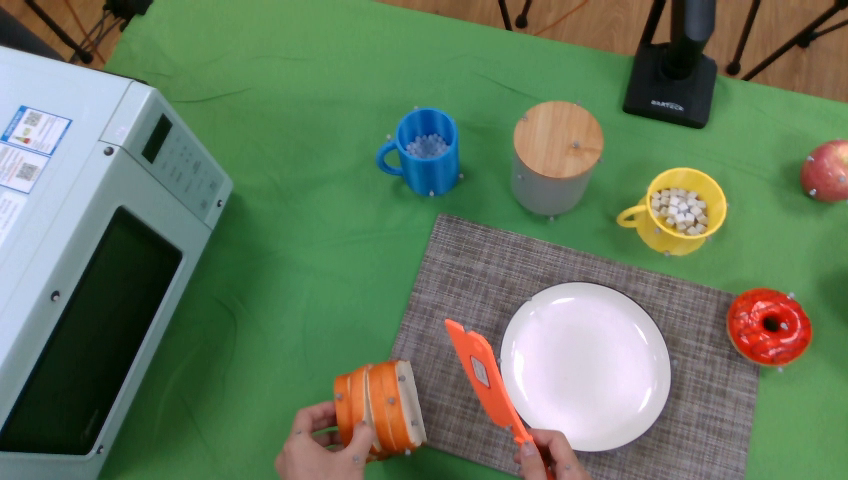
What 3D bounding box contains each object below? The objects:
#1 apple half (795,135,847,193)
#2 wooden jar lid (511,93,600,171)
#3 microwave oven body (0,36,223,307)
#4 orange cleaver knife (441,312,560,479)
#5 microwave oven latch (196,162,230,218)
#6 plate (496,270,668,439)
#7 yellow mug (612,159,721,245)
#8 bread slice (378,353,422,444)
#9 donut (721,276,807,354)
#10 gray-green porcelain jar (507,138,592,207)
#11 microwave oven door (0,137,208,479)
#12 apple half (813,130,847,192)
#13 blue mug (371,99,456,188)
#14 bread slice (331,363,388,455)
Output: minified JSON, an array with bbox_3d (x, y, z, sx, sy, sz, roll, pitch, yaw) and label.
[{"bbox_3d":[0.516,-0.094,0.802,0.033,0.082,0.080,-15,70,-6],"label":"apple half"},{"bbox_3d":[0.160,-0.130,0.745,0.108,0.021,0.107,-1,69,3],"label":"wooden jar lid"},{"bbox_3d":[-0.502,0.015,0.728,0.325,0.262,0.439,16,73,9],"label":"microwave oven body"},{"bbox_3d":[0.077,0.163,0.617,0.012,0.077,0.212,-36,107,-26],"label":"orange cleaver knife"},{"bbox_3d":[-0.300,-0.072,0.848,0.030,0.030,0.079,20,74,10],"label":"microwave oven latch"},{"bbox_3d":[0.194,0.142,0.758,0.207,0.039,0.206,-1,71,4],"label":"plate"},{"bbox_3d":[0.316,-0.047,0.805,0.131,0.064,0.099,-7,71,2],"label":"yellow mug"},{"bbox_3d":[-0.026,0.180,0.693,0.019,0.132,0.104,-15,77,3],"label":"bread slice"},{"bbox_3d":[0.422,0.094,0.756,0.099,0.048,0.098,-1,72,4],"label":"donut"},{"bbox_3d":[0.165,-0.109,0.804,0.106,0.127,0.105,-1,70,4],"label":"gray-green porcelain jar"},{"bbox_3d":[-0.379,0.091,0.688,0.039,0.245,0.354,16,72,9],"label":"microwave oven door"},{"bbox_3d":[0.553,-0.105,0.806,0.053,0.075,0.080,-14,66,-7],"label":"apple half"},{"bbox_3d":[-0.014,-0.128,0.833,0.116,0.106,0.082,-9,70,1],"label":"blue mug"},{"bbox_3d":[-0.074,0.191,0.701,0.018,0.135,0.106,-17,72,6],"label":"bread slice"}]
